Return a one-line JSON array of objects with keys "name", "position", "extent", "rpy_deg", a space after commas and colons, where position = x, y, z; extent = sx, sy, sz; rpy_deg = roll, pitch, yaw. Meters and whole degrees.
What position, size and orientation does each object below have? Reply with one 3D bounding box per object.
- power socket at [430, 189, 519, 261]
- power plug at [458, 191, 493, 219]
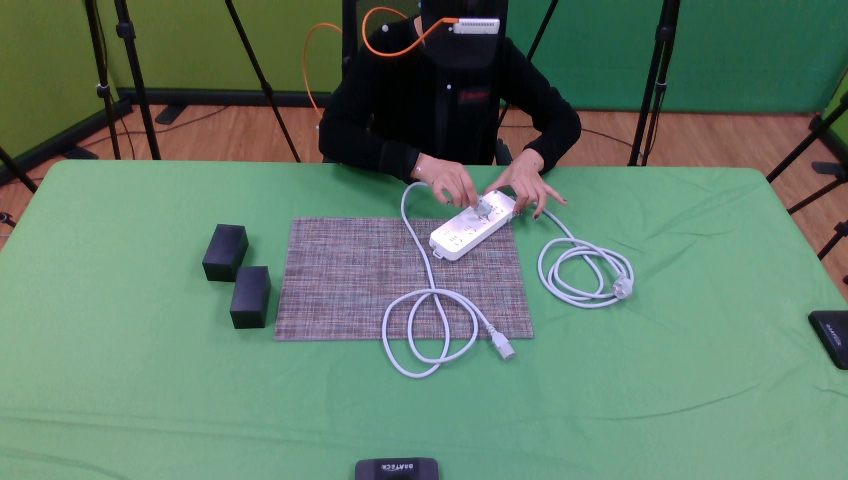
[{"name": "power socket", "position": [0.104, -0.033, 1.222], "extent": [0.072, 0.033, 0.226], "rpy_deg": [37, 55, 27]}, {"name": "power plug", "position": [0.107, -0.072, 1.205], "extent": [0.035, 0.053, 0.072], "rpy_deg": [-34, 45, -22]}]
